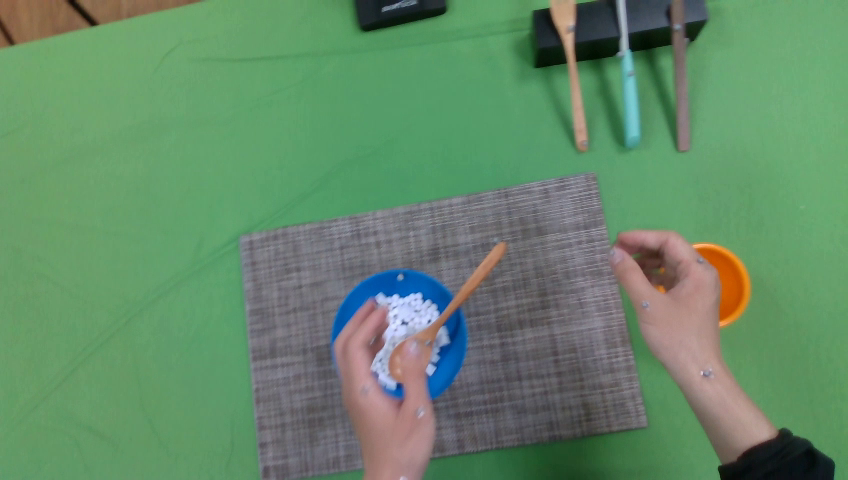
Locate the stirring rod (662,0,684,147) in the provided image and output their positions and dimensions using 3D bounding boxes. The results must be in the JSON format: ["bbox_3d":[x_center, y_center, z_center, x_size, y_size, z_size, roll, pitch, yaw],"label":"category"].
[{"bbox_3d":[0.296,-0.198,0.719,0.014,0.006,0.176,-8,99,2],"label":"stirring rod"}]

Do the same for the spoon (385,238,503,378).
[{"bbox_3d":[0.023,0.074,0.654,0.041,0.021,0.194,40,105,6],"label":"spoon"}]

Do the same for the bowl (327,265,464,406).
[{"bbox_3d":[-0.027,0.108,0.688,0.151,0.077,0.150,-1,79,6],"label":"bowl"}]

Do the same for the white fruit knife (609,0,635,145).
[{"bbox_3d":[0.230,-0.218,0.718,0.016,0.027,0.207,-9,96,2],"label":"white fruit knife"}]

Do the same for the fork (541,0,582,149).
[{"bbox_3d":[0.168,-0.212,0.725,0.028,0.018,0.208,-12,99,1],"label":"fork"}]
